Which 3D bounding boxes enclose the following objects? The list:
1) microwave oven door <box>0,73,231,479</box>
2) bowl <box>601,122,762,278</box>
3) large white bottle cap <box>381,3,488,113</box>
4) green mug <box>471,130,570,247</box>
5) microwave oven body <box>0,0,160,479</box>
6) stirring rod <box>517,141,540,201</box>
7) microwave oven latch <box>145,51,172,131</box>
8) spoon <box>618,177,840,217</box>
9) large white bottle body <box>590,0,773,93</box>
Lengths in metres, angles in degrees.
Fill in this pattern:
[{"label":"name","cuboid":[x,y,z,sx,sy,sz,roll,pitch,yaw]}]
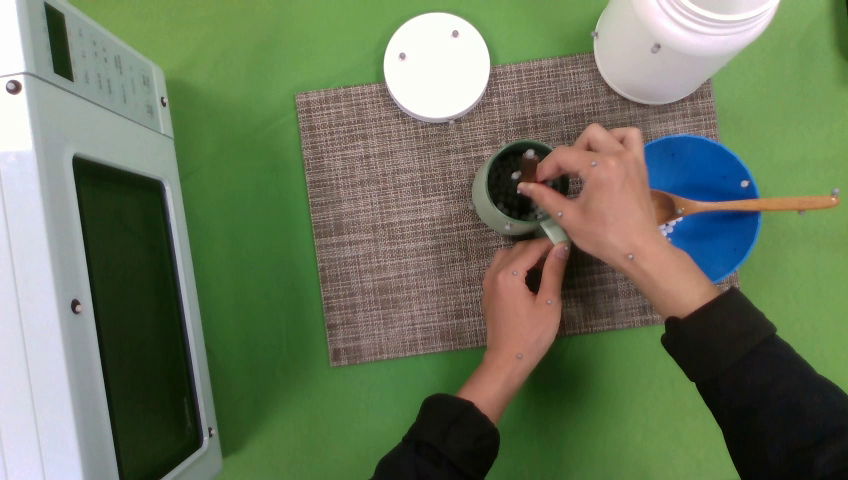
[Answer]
[{"label":"microwave oven door","cuboid":[-0.255,0.062,0.529,0.039,0.244,0.355,-10,90,1]},{"label":"bowl","cuboid":[0.248,-0.038,0.617,0.151,0.077,0.151,0,90,1]},{"label":"large white bottle cap","cuboid":[0.011,-0.195,0.650,0.115,0.018,0.114,0,88,1]},{"label":"green mug","cuboid":[0.104,-0.047,0.606,0.092,0.105,0.125,-35,89,1]},{"label":"microwave oven body","cuboid":[-0.406,0.045,0.536,0.326,0.260,0.441,-10,90,0]},{"label":"stirring rod","cuboid":[0.096,-0.060,0.564,0.014,0.177,0.006,14,82,9]},{"label":"microwave oven latch","cuboid":[-0.286,-0.152,0.631,0.030,0.029,0.079,-10,91,0]},{"label":"spoon","cuboid":[0.290,-0.044,0.588,0.193,0.022,0.041,-1,94,24]},{"label":"large white bottle body","cuboid":[0.239,-0.227,0.564,0.130,0.185,0.130,0,86,1]}]
